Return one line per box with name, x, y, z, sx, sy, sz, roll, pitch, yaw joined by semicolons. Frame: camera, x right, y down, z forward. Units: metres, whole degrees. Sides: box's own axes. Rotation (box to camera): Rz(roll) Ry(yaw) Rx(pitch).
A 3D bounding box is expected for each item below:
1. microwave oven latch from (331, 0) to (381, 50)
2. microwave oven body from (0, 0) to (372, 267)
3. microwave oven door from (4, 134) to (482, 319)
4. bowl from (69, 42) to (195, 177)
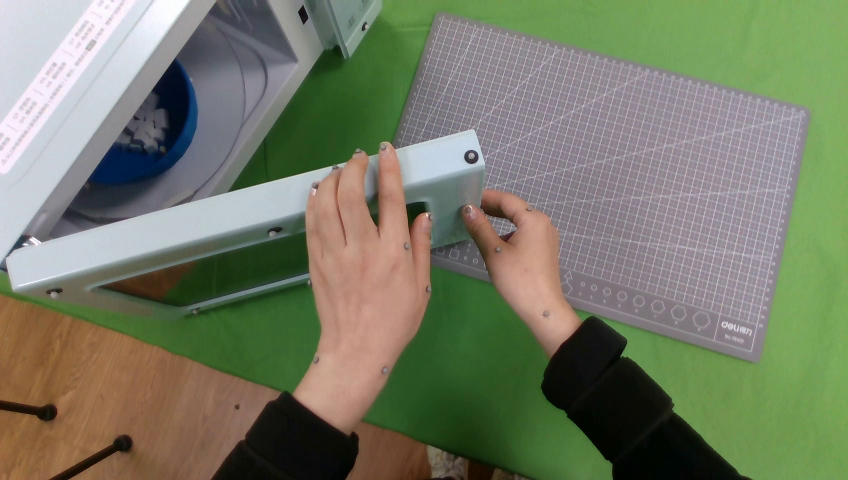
microwave oven latch;-0.079;-0.263;0.704;0.030;0.029;0.079;33;83;8
microwave oven body;-0.302;-0.208;0.603;0.325;0.261;0.441;31;82;7
microwave oven door;-0.125;0.000;0.550;0.356;0.245;0.039;-15;77;-1
bowl;-0.297;-0.125;0.618;0.151;0.077;0.150;-1;76;4
